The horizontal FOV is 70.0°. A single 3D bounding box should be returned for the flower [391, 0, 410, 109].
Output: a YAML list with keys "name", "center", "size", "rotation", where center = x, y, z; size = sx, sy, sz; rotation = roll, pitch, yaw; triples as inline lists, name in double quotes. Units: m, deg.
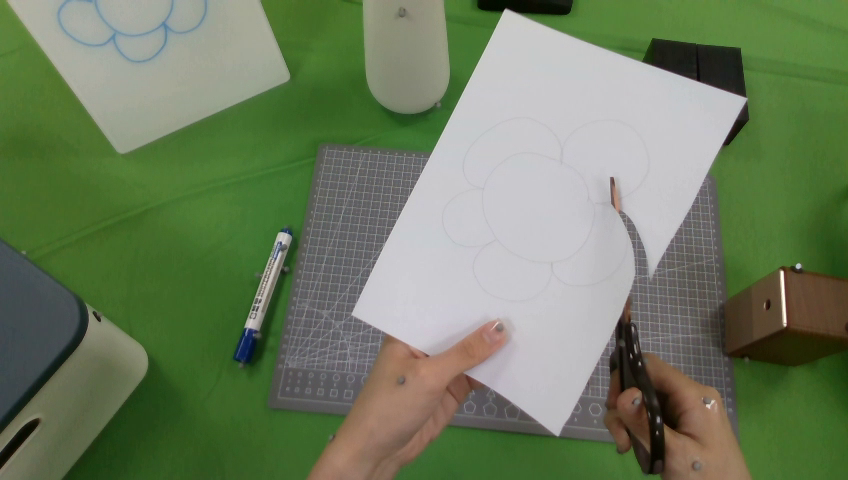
- name: "flower"
  center: [-0.031, -0.273, 0.569]
  size: [0.044, 0.365, 0.038]
  rotation: [-2, 49, 3]

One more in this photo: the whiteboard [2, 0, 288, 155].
- name: "whiteboard"
  center: [-0.314, -0.287, 0.640]
  size: [0.217, 0.308, 0.142]
  rotation: [-27, 50, -10]

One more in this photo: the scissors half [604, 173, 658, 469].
- name: "scissors half"
  center: [0.118, 0.048, 0.353]
  size: [0.013, 0.040, 0.175]
  rotation: [-8, 89, 0]

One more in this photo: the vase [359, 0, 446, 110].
- name: "vase"
  center: [-0.025, -0.228, 0.640]
  size: [0.098, 0.201, 0.097]
  rotation: [0, 66, 1]

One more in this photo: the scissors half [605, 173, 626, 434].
- name: "scissors half"
  center: [0.119, 0.043, 0.374]
  size: [0.013, 0.176, 0.040]
  rotation: [-7, 23, 5]

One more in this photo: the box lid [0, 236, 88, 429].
- name: "box lid"
  center: [-0.472, 0.062, 0.459]
  size: [0.370, 0.015, 0.262]
  rotation: [31, 70, 12]

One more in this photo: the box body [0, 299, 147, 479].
- name: "box body"
  center: [-0.470, 0.092, 0.527]
  size: [0.362, 0.161, 0.253]
  rotation: [31, 71, 12]

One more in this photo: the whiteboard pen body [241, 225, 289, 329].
- name: "whiteboard pen body"
  center: [-0.166, 0.047, 0.623]
  size: [0.017, 0.017, 0.140]
  rotation: [11, 66, 5]

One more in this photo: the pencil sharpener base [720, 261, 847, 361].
- name: "pencil sharpener base"
  center: [0.338, 0.070, 0.566]
  size: [0.077, 0.107, 0.061]
  rotation: [9, 67, 1]

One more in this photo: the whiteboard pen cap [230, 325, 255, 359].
- name: "whiteboard pen cap"
  center: [-0.178, 0.100, 0.599]
  size: [0.018, 0.018, 0.033]
  rotation: [11, 63, 5]

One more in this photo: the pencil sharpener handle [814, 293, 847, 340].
- name: "pencil sharpener handle"
  center: [0.389, 0.075, 0.554]
  size: [0.030, 0.068, 0.035]
  rotation: [9, 61, 1]

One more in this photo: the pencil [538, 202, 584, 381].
- name: "pencil"
  center: [0.142, 0.049, 0.627]
  size: [0.012, 0.012, 0.192]
  rotation: [-8, 70, -3]
